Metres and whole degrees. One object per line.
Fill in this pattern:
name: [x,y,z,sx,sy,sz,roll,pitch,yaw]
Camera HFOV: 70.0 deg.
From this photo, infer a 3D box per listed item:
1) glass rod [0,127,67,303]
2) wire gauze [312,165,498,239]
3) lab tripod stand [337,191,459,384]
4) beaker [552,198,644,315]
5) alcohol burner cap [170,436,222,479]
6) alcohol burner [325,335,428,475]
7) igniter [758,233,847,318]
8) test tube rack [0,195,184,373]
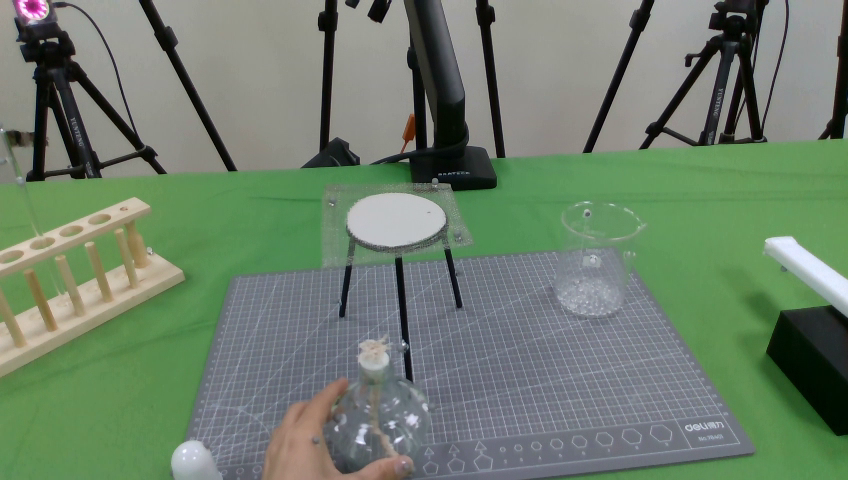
glass rod: [-0.369,-0.016,0.571,0.008,0.201,0.008,3,35,-2]
wire gauze: [-0.019,-0.033,0.507,0.125,0.011,0.120,-10,30,-26]
lab tripod stand: [-0.022,0.035,0.556,0.148,0.132,0.147,1,34,0]
beaker: [0.170,0.018,0.607,0.084,0.101,0.073,0,34,2]
alcohol burner cap: [-0.170,0.165,0.446,0.034,0.048,0.033,0,33,0]
alcohol burner: [-0.035,0.117,0.449,0.078,0.120,0.077,1,33,0]
igniter: [0.379,0.067,0.511,0.057,0.025,0.274,-5,30,-6]
test tube rack: [-0.372,0.047,0.597,0.066,0.086,0.242,24,41,33]
